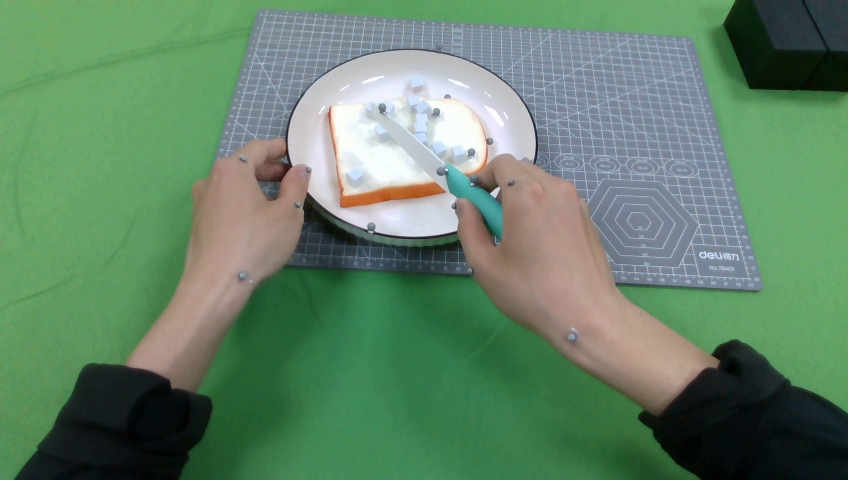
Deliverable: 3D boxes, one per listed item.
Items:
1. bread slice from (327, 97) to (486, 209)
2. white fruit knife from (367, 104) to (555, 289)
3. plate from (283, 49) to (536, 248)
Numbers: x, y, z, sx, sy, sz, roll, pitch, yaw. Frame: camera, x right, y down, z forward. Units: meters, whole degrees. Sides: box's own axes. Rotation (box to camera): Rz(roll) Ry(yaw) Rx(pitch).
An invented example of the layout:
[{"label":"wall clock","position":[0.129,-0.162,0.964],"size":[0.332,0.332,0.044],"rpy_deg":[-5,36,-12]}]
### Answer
[{"label":"bread slice","position":[-0.014,-0.081,0.516],"size":[0.132,0.019,0.104],"rpy_deg":[-10,59,-9]},{"label":"white fruit knife","position":[0.017,-0.042,0.429],"size":[0.016,0.027,0.205],"rpy_deg":[-27,56,-30]},{"label":"plate","position":[-0.012,-0.078,0.511],"size":[0.209,0.038,0.207],"rpy_deg":[2,58,-2]}]
